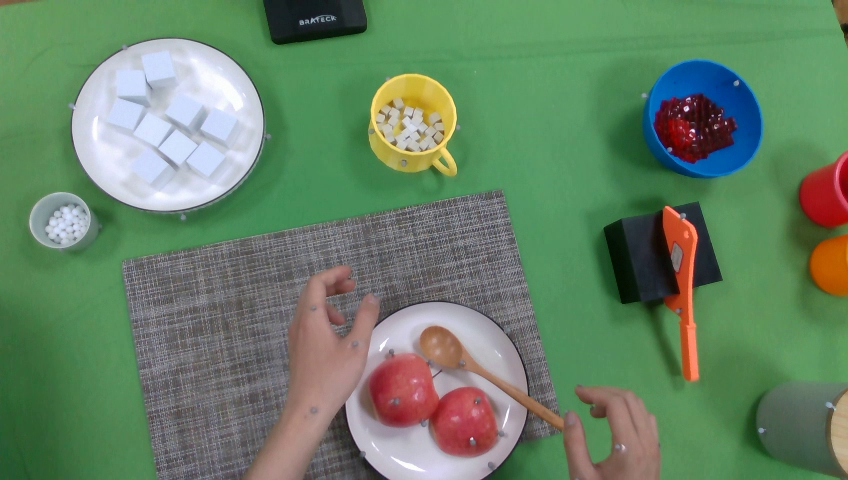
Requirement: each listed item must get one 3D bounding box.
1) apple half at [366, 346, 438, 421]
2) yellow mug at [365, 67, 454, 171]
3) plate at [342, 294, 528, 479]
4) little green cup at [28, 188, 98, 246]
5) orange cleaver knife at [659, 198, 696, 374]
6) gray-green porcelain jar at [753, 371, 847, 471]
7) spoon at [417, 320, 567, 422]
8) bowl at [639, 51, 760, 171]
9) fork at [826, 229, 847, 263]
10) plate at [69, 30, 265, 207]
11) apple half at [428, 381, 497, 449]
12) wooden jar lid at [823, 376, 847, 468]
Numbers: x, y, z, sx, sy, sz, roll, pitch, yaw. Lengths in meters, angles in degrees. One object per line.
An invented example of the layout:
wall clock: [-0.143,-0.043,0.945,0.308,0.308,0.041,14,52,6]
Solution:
apple half: [-0.024,0.159,0.664,0.075,0.053,0.080,-15,82,-8]
yellow mug: [-0.008,-0.134,0.720,0.100,0.064,0.131,-41,89,-13]
plate: [0.011,0.166,0.685,0.209,0.038,0.208,1,81,-8]
little green cup: [-0.389,-0.022,0.658,0.062,0.038,0.061,2,81,-9]
orange cleaver knife: [0.303,0.056,0.727,0.012,0.076,0.212,-11,106,-6]
gray-green porcelain jar: [0.460,0.206,0.703,0.106,0.126,0.105,1,80,-8]
spoon: [0.076,0.151,0.683,0.193,0.022,0.041,31,67,10]
bowl: [0.332,-0.152,0.767,0.152,0.077,0.151,1,81,-8]
fork: [0.549,0.054,0.729,0.028,0.019,0.205,4,37,-8]
plate: [-0.287,-0.136,0.694,0.208,0.039,0.207,1,80,-8]
apple half: [0.045,0.198,0.677,0.081,0.033,0.081,2,77,-7]
wooden jar lid: [0.468,0.195,0.643,0.108,0.021,0.108,1,83,-9]
